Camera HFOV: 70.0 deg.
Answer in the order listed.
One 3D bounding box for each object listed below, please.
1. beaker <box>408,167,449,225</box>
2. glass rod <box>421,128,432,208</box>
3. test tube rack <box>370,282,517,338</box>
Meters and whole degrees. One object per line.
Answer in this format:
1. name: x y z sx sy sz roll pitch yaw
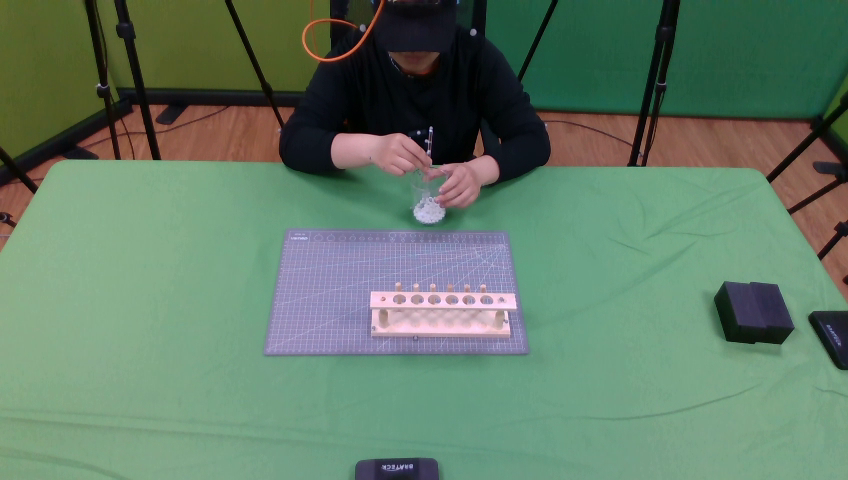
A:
1. beaker: 0.011 -0.087 1.217 0.084 0.101 0.073 -18 48 -15
2. glass rod: 0.003 -0.136 1.190 0.008 0.200 0.008 3 47 -3
3. test tube rack: 0.030 0.116 1.041 0.242 0.085 0.066 1 46 -3
